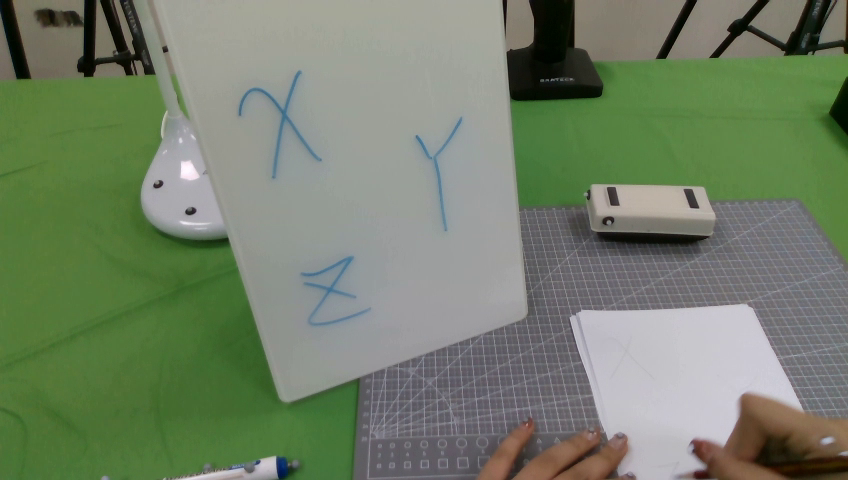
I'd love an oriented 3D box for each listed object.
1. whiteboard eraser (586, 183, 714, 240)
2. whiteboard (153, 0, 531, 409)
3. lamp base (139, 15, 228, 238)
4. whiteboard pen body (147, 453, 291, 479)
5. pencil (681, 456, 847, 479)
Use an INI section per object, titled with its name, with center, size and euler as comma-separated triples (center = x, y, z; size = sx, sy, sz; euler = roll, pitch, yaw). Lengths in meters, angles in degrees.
[whiteboard eraser]
center = 0.218, -0.027, 0.591
size = 0.112, 0.042, 0.055
euler = 2, 44, 4
[whiteboard]
center = -0.053, -0.061, 0.486
size = 0.217, 0.308, 0.142
euler = -17, 26, -15
[lamp base]
center = -0.228, -0.120, 0.601
size = 0.177, 0.182, 0.160
euler = 28, 50, 30
[whiteboard pen body]
center = -0.163, 0.167, 0.416
size = 0.141, 0.017, 0.017
euler = -9, 44, -7
[pencil]
center = 0.210, 0.122, 0.324
size = 0.012, 0.194, 0.012
euler = 14, 60, -25
